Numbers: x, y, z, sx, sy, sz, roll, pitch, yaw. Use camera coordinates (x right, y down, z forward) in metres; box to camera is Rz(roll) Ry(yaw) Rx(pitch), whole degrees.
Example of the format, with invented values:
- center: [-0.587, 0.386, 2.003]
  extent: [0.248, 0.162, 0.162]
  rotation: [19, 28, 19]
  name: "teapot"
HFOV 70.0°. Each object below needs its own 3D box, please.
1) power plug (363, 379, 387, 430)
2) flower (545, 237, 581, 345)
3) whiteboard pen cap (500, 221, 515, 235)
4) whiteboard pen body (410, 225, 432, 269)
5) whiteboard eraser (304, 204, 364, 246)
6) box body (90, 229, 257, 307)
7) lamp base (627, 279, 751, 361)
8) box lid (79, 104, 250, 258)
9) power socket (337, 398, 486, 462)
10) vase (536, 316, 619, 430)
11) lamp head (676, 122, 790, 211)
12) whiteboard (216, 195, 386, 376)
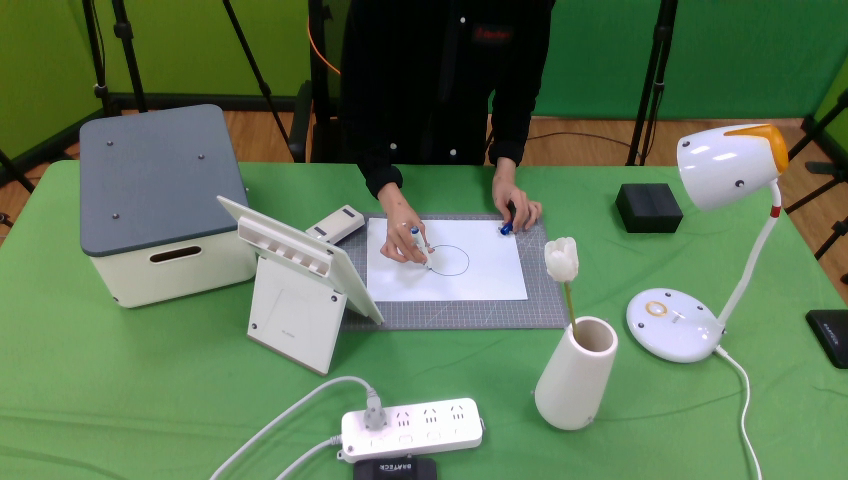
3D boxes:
- center: [-0.071, 0.252, 0.911]
  extent: [0.035, 0.053, 0.072]
  rotation: [3, 40, 0]
  name: "power plug"
- center: [0.213, 0.137, 0.846]
  extent: [0.038, 0.364, 0.044]
  rotation: [22, 55, 40]
  name: "flower"
- center: [0.169, -0.024, 1.234]
  extent: [0.018, 0.018, 0.033]
  rotation: [32, 54, 24]
  name: "whiteboard pen cap"
- center: [-0.003, 0.017, 1.098]
  extent: [0.017, 0.141, 0.017]
  rotation: [-7, 56, 11]
  name: "whiteboard pen body"
- center: [-0.175, -0.022, 1.188]
  extent: [0.055, 0.042, 0.112]
  rotation: [36, 53, 26]
  name: "whiteboard eraser"
- center: [-0.471, -0.070, 1.131]
  extent: [0.254, 0.161, 0.361]
  rotation: [-14, 49, -17]
  name: "box body"
- center: [0.460, 0.100, 1.027]
  extent: [0.178, 0.181, 0.160]
  rotation: [27, 51, 17]
  name: "lamp base"
- center: [-0.467, -0.120, 1.075]
  extent: [0.264, 0.015, 0.369]
  rotation: [-13, 49, -17]
  name: "box lid"
- center: [-0.018, 0.285, 0.914]
  extent: [0.227, 0.033, 0.071]
  rotation: [-4, 46, -8]
  name: "power socket"
- center: [0.229, 0.200, 0.901]
  extent: [0.098, 0.201, 0.097]
  rotation: [3, 46, -3]
  name: "vase"
- center: [0.423, -0.104, 0.819]
  extent: [0.122, 0.113, 0.112]
  rotation: [-13, 33, 40]
  name: "lamp head"
- center: [-0.212, 0.093, 0.939]
  extent: [0.216, 0.307, 0.143]
  rotation: [24, 70, 17]
  name: "whiteboard"
